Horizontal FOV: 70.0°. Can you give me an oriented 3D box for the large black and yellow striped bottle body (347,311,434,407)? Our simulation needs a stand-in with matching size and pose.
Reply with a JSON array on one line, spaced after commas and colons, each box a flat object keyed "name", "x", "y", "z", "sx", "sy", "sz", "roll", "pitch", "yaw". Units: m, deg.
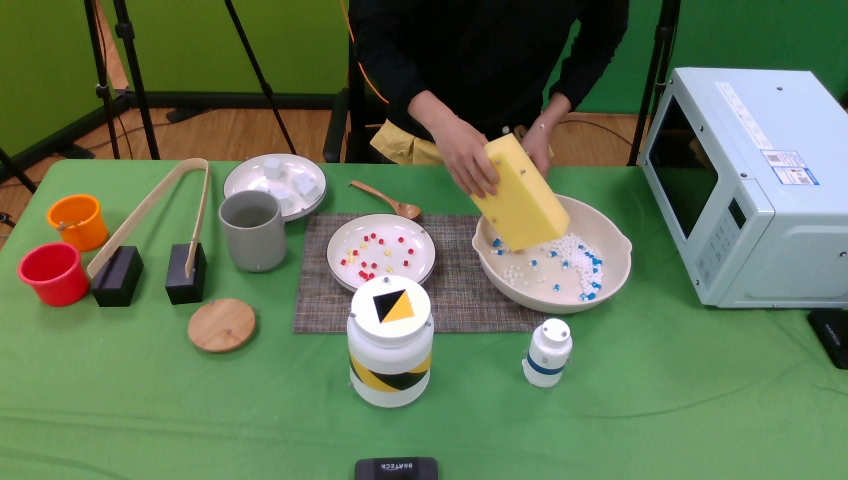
[{"name": "large black and yellow striped bottle body", "x": -0.052, "y": 0.157, "z": 0.929, "sx": 0.131, "sy": 0.185, "sz": 0.130, "roll": 2, "pitch": 47, "yaw": -2}]

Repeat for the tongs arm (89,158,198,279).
[{"name": "tongs arm", "x": -0.529, "y": -0.057, "z": 1.164, "sx": 0.028, "sy": 0.028, "sz": 0.385, "roll": 1, "pitch": 36, "yaw": 8}]

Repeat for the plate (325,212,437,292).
[{"name": "plate", "x": -0.080, "y": 0.030, "z": 1.143, "sx": 0.209, "sy": 0.038, "sz": 0.208, "roll": 3, "pitch": 46, "yaw": -3}]

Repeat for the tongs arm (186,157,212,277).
[{"name": "tongs arm", "x": -0.445, "y": -0.058, "z": 1.168, "sx": 0.051, "sy": 0.026, "sz": 0.382, "roll": -5, "pitch": 37, "yaw": -6}]

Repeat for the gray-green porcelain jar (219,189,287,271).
[{"name": "gray-green porcelain jar", "x": -0.310, "y": -0.014, "z": 1.113, "sx": 0.106, "sy": 0.127, "sz": 0.105, "roll": 2, "pitch": 46, "yaw": -2}]

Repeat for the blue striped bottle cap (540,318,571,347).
[{"name": "blue striped bottle cap", "x": 0.203, "y": 0.142, "z": 0.933, "sx": 0.044, "sy": 0.021, "sz": 0.044, "roll": 3, "pitch": 49, "yaw": -3}]

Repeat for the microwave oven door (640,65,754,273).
[{"name": "microwave oven door", "x": 0.523, "y": -0.147, "z": 1.193, "sx": 0.039, "sy": 0.245, "sz": 0.353, "roll": 0, "pitch": 47, "yaw": -3}]

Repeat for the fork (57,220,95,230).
[{"name": "fork", "x": -0.624, "y": -0.027, "z": 1.087, "sx": 0.028, "sy": 0.207, "sz": 0.018, "roll": -3, "pitch": 92, "yaw": -17}]

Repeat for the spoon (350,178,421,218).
[{"name": "spoon", "x": -0.084, "y": -0.092, "z": 1.272, "sx": 0.193, "sy": 0.022, "sz": 0.041, "roll": 31, "pitch": 69, "yaw": 25}]

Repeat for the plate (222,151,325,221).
[{"name": "plate", "x": -0.310, "y": -0.106, "z": 1.263, "sx": 0.208, "sy": 0.039, "sz": 0.206, "roll": 2, "pitch": 47, "yaw": -2}]

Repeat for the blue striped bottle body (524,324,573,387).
[{"name": "blue striped bottle body", "x": 0.200, "y": 0.178, "z": 0.970, "sx": 0.063, "sy": 0.121, "sz": 0.062, "roll": 2, "pitch": 46, "yaw": -2}]

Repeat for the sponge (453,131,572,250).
[{"name": "sponge", "x": 0.164, "y": -0.085, "z": 1.111, "sx": 0.118, "sy": 0.207, "sz": 0.060, "roll": -20, "pitch": 29, "yaw": 43}]

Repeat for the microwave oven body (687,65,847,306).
[{"name": "microwave oven body", "x": 0.669, "y": -0.111, "z": 1.176, "sx": 0.326, "sy": 0.261, "sz": 0.439, "roll": 0, "pitch": 46, "yaw": -3}]

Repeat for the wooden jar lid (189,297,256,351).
[{"name": "wooden jar lid", "x": -0.342, "y": 0.145, "z": 1.033, "sx": 0.108, "sy": 0.021, "sz": 0.107, "roll": 2, "pitch": 45, "yaw": -2}]

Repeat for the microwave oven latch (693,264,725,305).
[{"name": "microwave oven latch", "x": 0.522, "y": 0.082, "z": 1.116, "sx": 0.030, "sy": 0.029, "sz": 0.078, "roll": 2, "pitch": 46, "yaw": -1}]

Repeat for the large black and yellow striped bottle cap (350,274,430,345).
[{"name": "large black and yellow striped bottle cap", "x": -0.048, "y": 0.097, "z": 0.868, "sx": 0.115, "sy": 0.019, "sz": 0.114, "roll": 3, "pitch": 48, "yaw": -3}]

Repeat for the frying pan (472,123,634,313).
[{"name": "frying pan", "x": 0.235, "y": -0.060, "z": 1.208, "sx": 0.307, "sy": 0.103, "sz": 0.484, "roll": 1, "pitch": 54, "yaw": -6}]
